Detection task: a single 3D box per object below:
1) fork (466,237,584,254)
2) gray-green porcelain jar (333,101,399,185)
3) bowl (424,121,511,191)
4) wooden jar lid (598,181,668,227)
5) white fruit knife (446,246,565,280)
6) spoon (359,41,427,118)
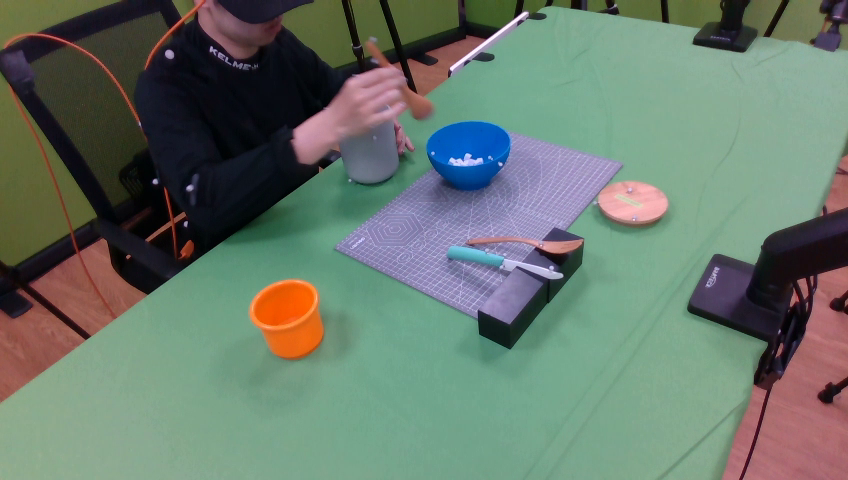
[{"bbox_3d":[0.142,0.005,0.894,0.205,0.019,0.028,4,43,41],"label":"fork"},{"bbox_3d":[-0.103,-0.173,1.108,0.106,0.127,0.105,-4,40,4],"label":"gray-green porcelain jar"},{"bbox_3d":[0.081,-0.141,1.074,0.151,0.077,0.150,-4,40,4],"label":"bowl"},{"bbox_3d":[0.340,-0.058,0.989,0.108,0.021,0.108,-5,41,5],"label":"wooden jar lid"},{"bbox_3d":[0.111,0.033,0.868,0.205,0.027,0.016,11,44,40],"label":"white fruit knife"},{"bbox_3d":[-0.049,-0.251,0.957,0.041,0.195,0.021,-35,52,12],"label":"spoon"}]
